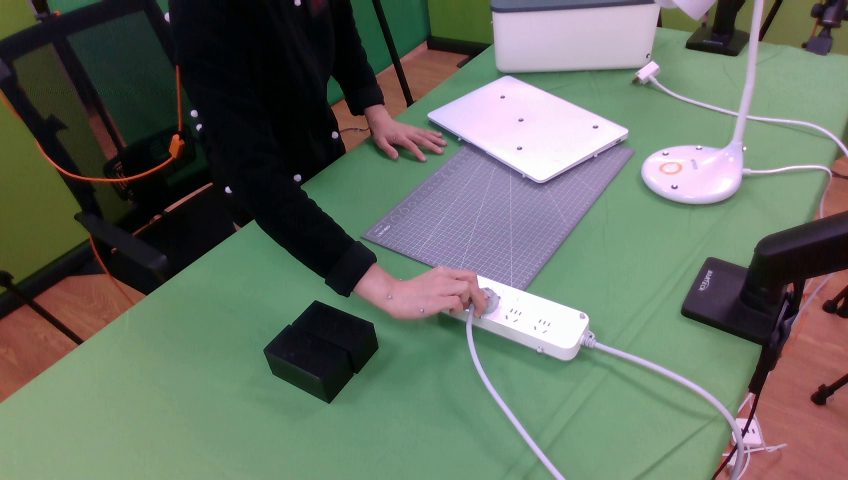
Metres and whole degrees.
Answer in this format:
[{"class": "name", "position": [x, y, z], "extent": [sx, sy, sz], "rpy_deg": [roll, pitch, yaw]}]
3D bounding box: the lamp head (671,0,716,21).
[{"class": "lamp head", "position": [0.375, -0.373, 0.808], "extent": [0.122, 0.113, 0.112], "rpy_deg": [-40, 27, 32]}]

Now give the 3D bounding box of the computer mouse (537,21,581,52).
[{"class": "computer mouse", "position": [0.335, -0.503, 1.487], "extent": [0.118, 0.041, 0.062], "rpy_deg": [22, 19, -28]}]

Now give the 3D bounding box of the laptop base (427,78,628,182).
[{"class": "laptop base", "position": [0.199, -0.228, 1.222], "extent": [0.236, 0.023, 0.351], "rpy_deg": [-31, 45, -22]}]

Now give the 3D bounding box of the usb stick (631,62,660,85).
[{"class": "usb stick", "position": [0.480, -0.358, 1.317], "extent": [0.059, 0.022, 0.027], "rpy_deg": [-35, 56, 13]}]

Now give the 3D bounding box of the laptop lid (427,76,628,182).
[{"class": "laptop lid", "position": [0.196, -0.237, 1.213], "extent": [0.242, 0.013, 0.353], "rpy_deg": [-29, 44, -21]}]

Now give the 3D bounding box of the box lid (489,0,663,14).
[{"class": "box lid", "position": [0.340, -0.575, 1.380], "extent": [0.371, 0.015, 0.262], "rpy_deg": [0, 41, 9]}]

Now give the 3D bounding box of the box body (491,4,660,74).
[{"class": "box body", "position": [0.346, -0.520, 1.429], "extent": [0.363, 0.161, 0.253], "rpy_deg": [0, 41, 9]}]

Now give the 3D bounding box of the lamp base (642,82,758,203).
[{"class": "lamp base", "position": [0.464, -0.174, 0.992], "extent": [0.179, 0.181, 0.159], "rpy_deg": [-5, 41, -1]}]

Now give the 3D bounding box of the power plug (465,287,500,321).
[{"class": "power plug", "position": [0.071, 0.092, 0.814], "extent": [0.073, 0.053, 0.035], "rpy_deg": [-37, 49, -27]}]

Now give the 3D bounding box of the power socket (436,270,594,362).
[{"class": "power socket", "position": [0.118, 0.101, 0.832], "extent": [0.225, 0.033, 0.072], "rpy_deg": [19, 48, 27]}]
